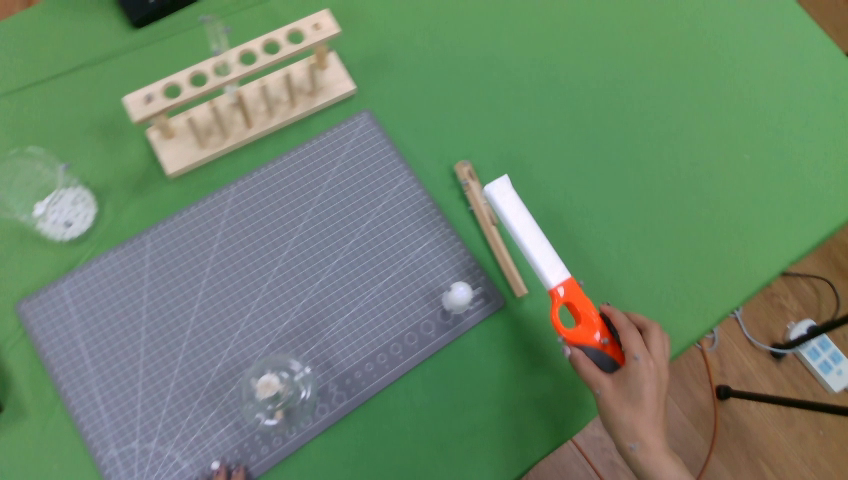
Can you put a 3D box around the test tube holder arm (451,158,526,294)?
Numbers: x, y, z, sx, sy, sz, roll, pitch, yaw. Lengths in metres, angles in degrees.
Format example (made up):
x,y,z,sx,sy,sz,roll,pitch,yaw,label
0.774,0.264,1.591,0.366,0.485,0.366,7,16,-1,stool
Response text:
x,y,z,sx,sy,sz,roll,pitch,yaw,label
0.076,-0.018,0.717,0.013,0.015,0.177,-12,73,-44,test tube holder arm

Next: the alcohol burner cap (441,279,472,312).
x,y,z,sx,sy,sz,roll,pitch,yaw,label
0.037,0.061,0.677,0.034,0.048,0.033,1,72,-4,alcohol burner cap

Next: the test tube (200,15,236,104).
x,y,z,sx,sy,sz,roll,pitch,yaw,label
-0.220,-0.191,0.658,0.017,0.151,0.017,3,72,-8,test tube

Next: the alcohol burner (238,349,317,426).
x,y,z,sx,sy,sz,roll,pitch,yaw,label
-0.147,0.144,0.599,0.078,0.119,0.077,2,71,-5,alcohol burner

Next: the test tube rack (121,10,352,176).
x,y,z,sx,sy,sz,roll,pitch,yaw,label
-0.208,-0.170,0.705,0.242,0.085,0.066,-29,78,-12,test tube rack

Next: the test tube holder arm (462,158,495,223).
x,y,z,sx,sy,sz,roll,pitch,yaw,label
0.062,-0.059,0.731,0.010,0.015,0.087,-10,72,-44,test tube holder arm

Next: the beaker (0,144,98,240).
x,y,z,sx,sy,sz,roll,pitch,yaw,label
-0.400,-0.043,0.643,0.074,0.100,0.083,-30,78,-13,beaker

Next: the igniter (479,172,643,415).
x,y,z,sx,sy,sz,roll,pitch,yaw,label
0.142,0.053,0.625,0.057,0.025,0.275,-30,84,-17,igniter
